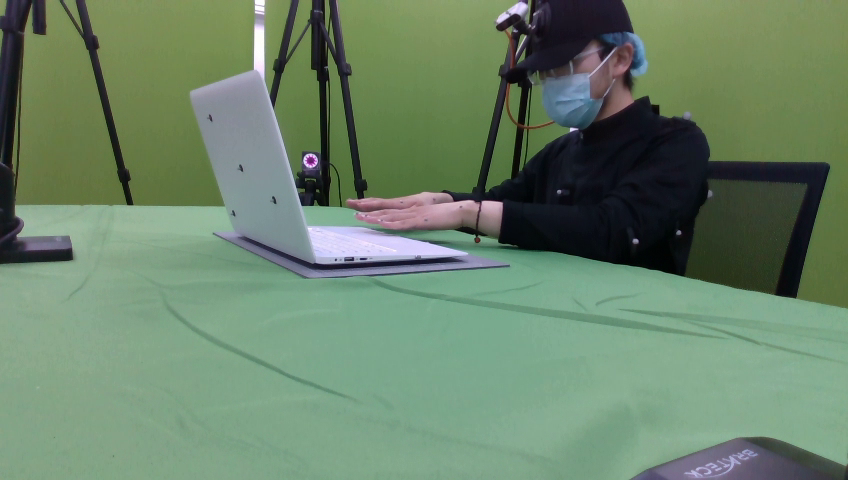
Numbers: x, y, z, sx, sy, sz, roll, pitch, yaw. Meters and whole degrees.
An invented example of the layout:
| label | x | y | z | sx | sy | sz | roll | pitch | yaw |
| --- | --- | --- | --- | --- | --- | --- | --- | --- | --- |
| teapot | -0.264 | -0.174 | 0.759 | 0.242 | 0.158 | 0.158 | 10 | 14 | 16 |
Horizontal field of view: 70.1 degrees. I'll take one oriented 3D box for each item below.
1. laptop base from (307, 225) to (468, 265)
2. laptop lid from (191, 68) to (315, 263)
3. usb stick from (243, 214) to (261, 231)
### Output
| label | x | y | z | sx | sy | sz | roll | pitch | yaw |
| --- | --- | --- | --- | --- | --- | --- | --- | --- | --- |
| laptop base | -0.125 | 0.005 | 0.936 | 0.237 | 0.023 | 0.352 | 1 | 7 | -33 |
| laptop lid | -0.250 | -0.102 | 0.838 | 0.013 | 0.242 | 0.355 | -22 | 20 | -29 |
| usb stick | -0.298 | -0.030 | 1.053 | 0.021 | 0.027 | 0.059 | 0 | 10 | -31 |
